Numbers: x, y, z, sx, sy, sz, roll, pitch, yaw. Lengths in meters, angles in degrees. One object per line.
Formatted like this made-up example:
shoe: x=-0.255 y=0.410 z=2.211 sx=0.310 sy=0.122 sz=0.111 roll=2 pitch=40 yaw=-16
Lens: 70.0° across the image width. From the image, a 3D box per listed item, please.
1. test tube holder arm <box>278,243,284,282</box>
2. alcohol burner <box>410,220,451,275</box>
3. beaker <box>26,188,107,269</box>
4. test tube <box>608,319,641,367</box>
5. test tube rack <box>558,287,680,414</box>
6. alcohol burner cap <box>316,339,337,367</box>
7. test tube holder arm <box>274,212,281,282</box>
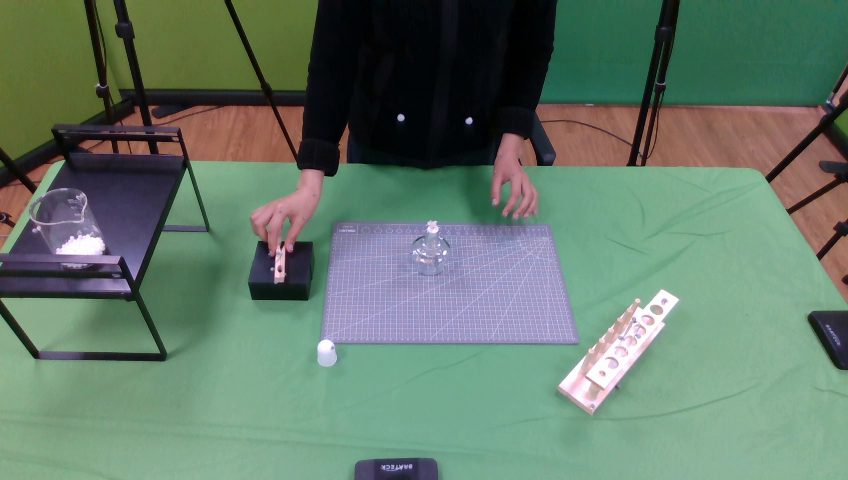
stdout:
test tube holder arm: x=-0.253 y=0.039 z=1.072 sx=0.010 sy=0.015 sz=0.087 roll=8 pitch=40 yaw=-19
alcohol burner: x=0.013 y=0.008 z=1.120 sx=0.078 sy=0.120 sz=0.077 roll=1 pitch=48 yaw=-1
beaker: x=-0.504 y=-0.012 z=0.867 sx=0.084 sy=0.101 sz=0.074 roll=23 pitch=49 yaw=17
test tube: x=0.308 y=0.169 z=0.940 sx=0.017 sy=0.151 sz=0.017 roll=1 pitch=49 yaw=-1
test tube rack: x=0.326 y=0.170 z=1.009 sx=0.066 sy=0.085 sz=0.242 roll=36 pitch=54 yaw=27
alcohol burner cap: x=-0.161 y=0.182 z=0.995 sx=0.034 sy=0.048 sz=0.033 roll=2 pitch=47 yaw=-2
test tube holder arm: x=-0.266 y=0.008 z=1.102 sx=0.013 sy=0.015 sz=0.177 roll=7 pitch=40 yaw=-20
